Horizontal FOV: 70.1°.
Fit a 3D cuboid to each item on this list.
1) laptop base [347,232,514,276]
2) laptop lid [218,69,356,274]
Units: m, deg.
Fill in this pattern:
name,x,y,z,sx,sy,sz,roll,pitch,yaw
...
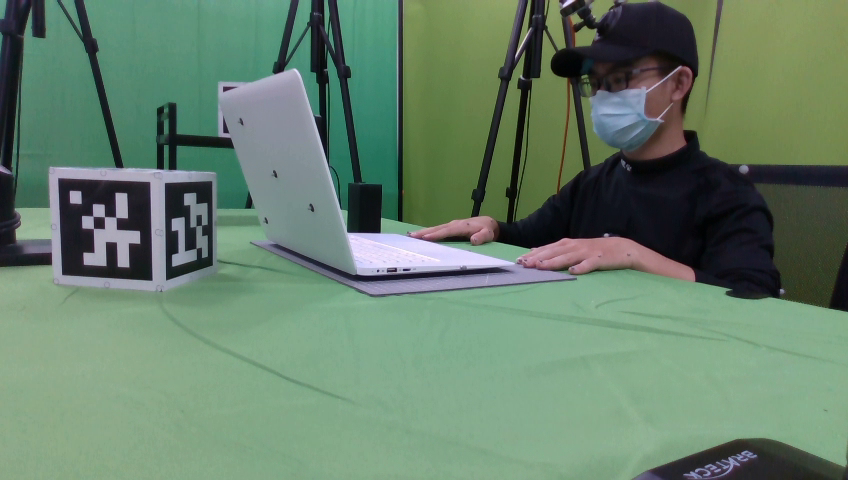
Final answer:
name,x,y,z,sx,sy,sz,roll,pitch,yaw
laptop base,-0.066,0.017,0.893,0.237,0.023,0.352,2,6,-32
laptop lid,-0.195,-0.090,0.798,0.013,0.242,0.355,-23,20,-27
